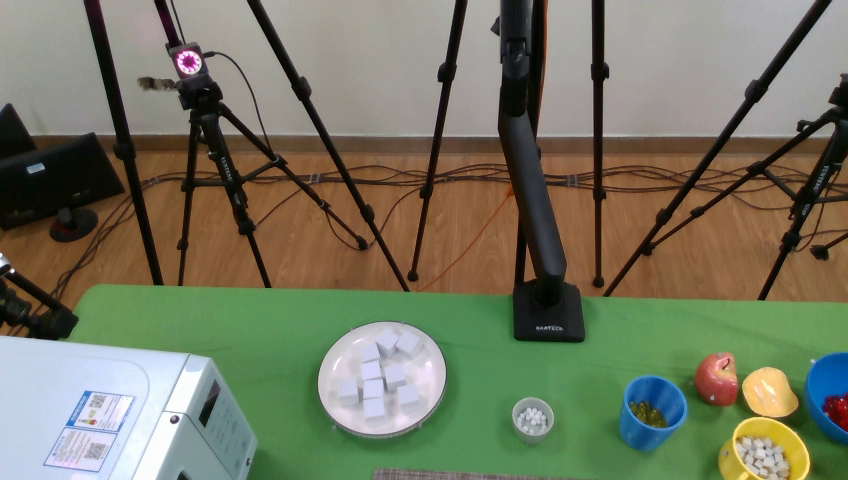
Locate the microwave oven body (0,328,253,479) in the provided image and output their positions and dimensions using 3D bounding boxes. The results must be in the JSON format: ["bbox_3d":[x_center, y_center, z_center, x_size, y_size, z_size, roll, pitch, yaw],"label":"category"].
[{"bbox_3d":[-0.443,0.362,0.714,0.325,0.262,0.437,4,49,6],"label":"microwave oven body"}]

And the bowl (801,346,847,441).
[{"bbox_3d":[0.626,0.240,0.891,0.151,0.077,0.150,-2,49,3],"label":"bowl"}]

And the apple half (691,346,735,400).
[{"bbox_3d":[0.442,0.206,0.936,0.053,0.075,0.080,3,52,12],"label":"apple half"}]

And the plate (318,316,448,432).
[{"bbox_3d":[-0.065,0.217,0.979,0.207,0.039,0.205,-2,48,2],"label":"plate"}]

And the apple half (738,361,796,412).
[{"bbox_3d":[0.524,0.231,0.936,0.081,0.033,0.080,-5,61,10],"label":"apple half"}]

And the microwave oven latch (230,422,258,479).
[{"bbox_3d":[-0.269,0.306,0.886,0.030,0.030,0.078,7,50,9],"label":"microwave oven latch"}]

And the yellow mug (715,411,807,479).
[{"bbox_3d":[0.460,0.308,0.847,0.131,0.064,0.099,-31,54,-21],"label":"yellow mug"}]

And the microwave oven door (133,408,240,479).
[{"bbox_3d":[-0.304,0.399,0.666,0.039,0.246,0.352,4,48,7],"label":"microwave oven door"}]

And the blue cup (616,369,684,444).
[{"bbox_3d":[0.321,0.250,0.884,0.092,0.101,0.091,-1,50,2],"label":"blue cup"}]

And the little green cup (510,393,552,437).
[{"bbox_3d":[0.162,0.268,0.920,0.061,0.039,0.061,-2,47,2],"label":"little green cup"}]
